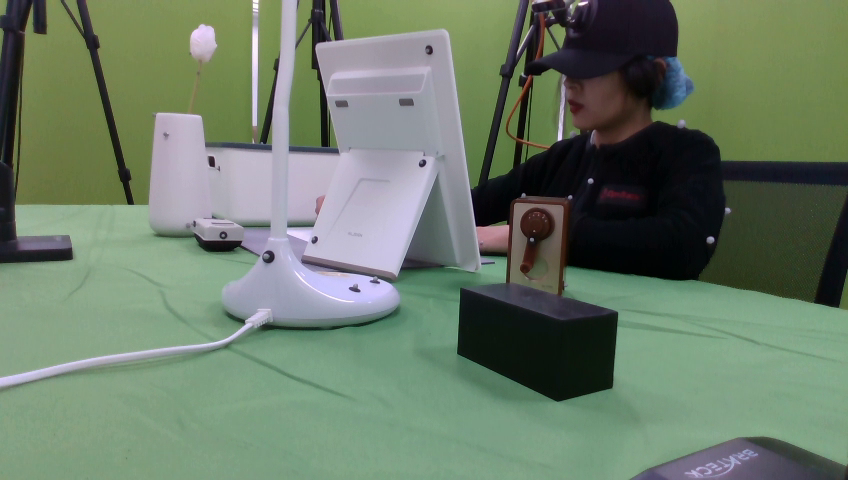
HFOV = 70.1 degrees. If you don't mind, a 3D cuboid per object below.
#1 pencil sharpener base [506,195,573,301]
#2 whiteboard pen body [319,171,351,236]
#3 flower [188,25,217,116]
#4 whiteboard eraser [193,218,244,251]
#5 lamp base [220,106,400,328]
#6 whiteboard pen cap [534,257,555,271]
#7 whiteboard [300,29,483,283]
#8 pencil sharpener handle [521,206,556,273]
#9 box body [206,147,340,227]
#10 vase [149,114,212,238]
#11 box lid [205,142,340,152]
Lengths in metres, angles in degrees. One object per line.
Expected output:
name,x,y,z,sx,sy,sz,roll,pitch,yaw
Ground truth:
pencil sharpener base,0.127,0.007,0.663,0.061,0.107,0.077,5,8,15
whiteboard pen body,-0.163,-0.067,1.103,0.017,0.140,0.017,15,-27,8
flower,-0.394,-0.189,1.011,0.044,0.361,0.038,-1,-13,27
whiteboard eraser,-0.307,-0.009,0.900,0.056,0.042,0.112,-4,11,-28
lamp base,-0.101,-0.023,0.531,0.160,0.180,0.179,4,10,10
whiteboard pen cap,0.167,0.033,0.839,0.018,0.018,0.033,-1,6,-23
whiteboard,-0.074,-0.082,0.742,0.216,0.305,0.144,9,29,38
pencil sharpener handle,0.111,0.000,0.613,0.036,0.067,0.031,13,10,14
box body,-0.276,-0.122,1.320,0.366,0.160,0.253,-2,9,-30
vase,-0.405,-0.106,1.005,0.098,0.200,0.098,2,6,0
box lid,-0.270,-0.196,1.311,0.373,0.015,0.262,-2,9,-30
